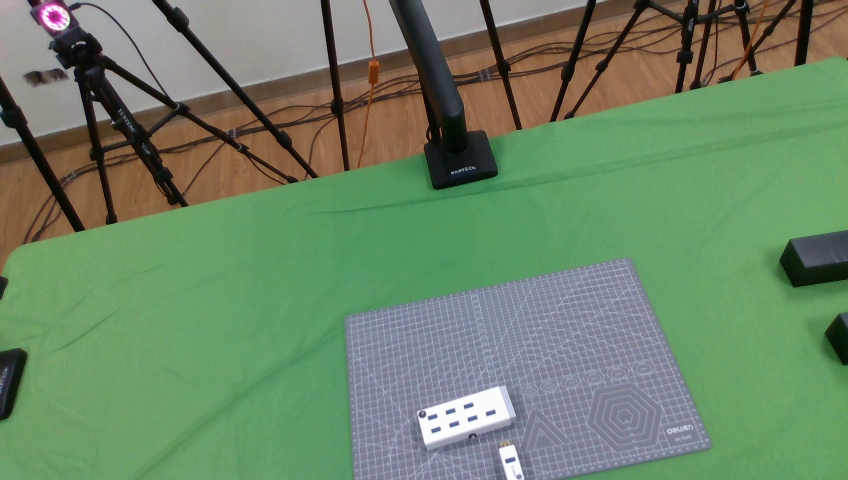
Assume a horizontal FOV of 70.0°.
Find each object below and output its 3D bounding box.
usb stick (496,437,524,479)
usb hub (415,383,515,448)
[{"bbox_3d":[0.106,0.275,0.762,0.021,0.027,0.058,-18,49,2],"label":"usb stick"},{"bbox_3d":[0.053,0.233,0.805,0.125,0.025,0.049,-17,52,-2],"label":"usb hub"}]
